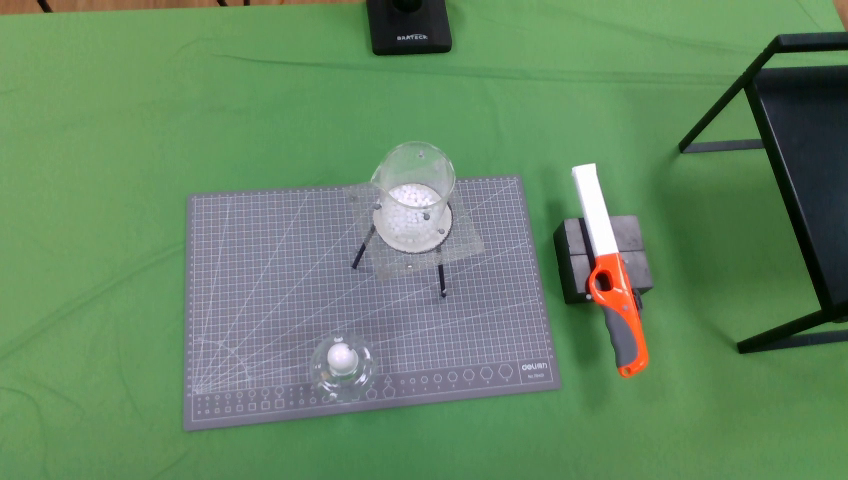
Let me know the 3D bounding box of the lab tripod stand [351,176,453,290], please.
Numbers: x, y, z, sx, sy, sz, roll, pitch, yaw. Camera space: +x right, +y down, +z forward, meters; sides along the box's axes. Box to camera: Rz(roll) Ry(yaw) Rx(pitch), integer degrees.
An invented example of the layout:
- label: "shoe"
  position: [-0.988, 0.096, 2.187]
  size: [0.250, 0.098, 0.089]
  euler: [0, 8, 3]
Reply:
- label: "lab tripod stand"
  position: [-0.019, -0.013, 0.733]
  size: [0.148, 0.132, 0.147]
  euler: [2, 68, -4]

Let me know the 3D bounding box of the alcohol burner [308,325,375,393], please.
- label: "alcohol burner"
  position: [-0.093, 0.131, 0.682]
  size: [0.078, 0.119, 0.077]
  euler: [2, 71, -6]

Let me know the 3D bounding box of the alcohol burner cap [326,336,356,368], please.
- label: "alcohol burner cap"
  position: [-0.091, 0.118, 0.649]
  size: [0.034, 0.048, 0.033]
  euler: [1, 71, -3]

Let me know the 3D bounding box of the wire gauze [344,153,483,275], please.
- label: "wire gauze"
  position: [-0.012, -0.030, 0.669]
  size: [0.125, 0.011, 0.120]
  euler: [-16, 73, -14]

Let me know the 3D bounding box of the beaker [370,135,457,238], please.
- label: "beaker"
  position: [-0.014, -0.050, 0.624]
  size: [0.084, 0.101, 0.073]
  euler: [-6, 69, -8]

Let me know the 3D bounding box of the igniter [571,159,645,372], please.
- label: "igniter"
  position: [0.228, 0.025, 0.757]
  size: [0.057, 0.025, 0.274]
  euler: [-9, 70, 2]
